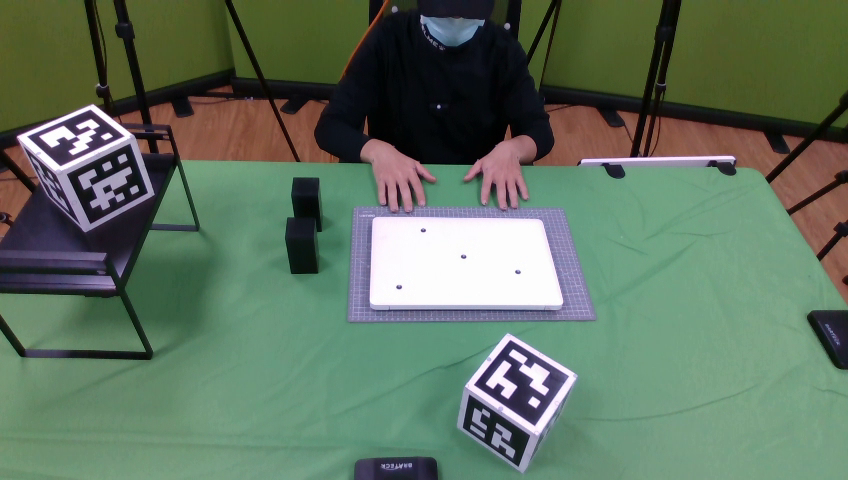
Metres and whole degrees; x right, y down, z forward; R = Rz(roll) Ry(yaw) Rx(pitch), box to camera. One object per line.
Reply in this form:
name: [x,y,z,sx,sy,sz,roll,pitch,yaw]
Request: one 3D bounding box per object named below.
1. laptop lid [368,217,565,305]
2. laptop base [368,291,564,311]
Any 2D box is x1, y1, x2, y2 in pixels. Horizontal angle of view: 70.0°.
laptop lid: [0.075,0.034,1.153,0.357,0.013,0.240,2,44,-2]
laptop base: [0.074,0.044,1.160,0.354,0.023,0.234,0,43,-3]
